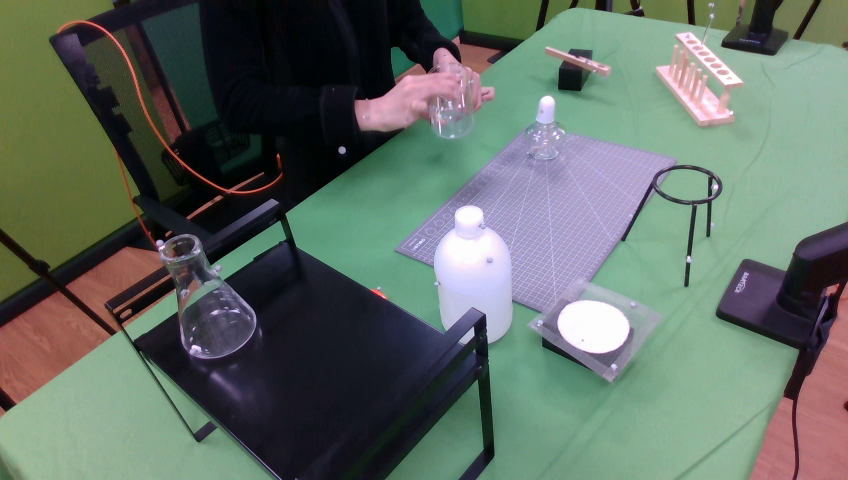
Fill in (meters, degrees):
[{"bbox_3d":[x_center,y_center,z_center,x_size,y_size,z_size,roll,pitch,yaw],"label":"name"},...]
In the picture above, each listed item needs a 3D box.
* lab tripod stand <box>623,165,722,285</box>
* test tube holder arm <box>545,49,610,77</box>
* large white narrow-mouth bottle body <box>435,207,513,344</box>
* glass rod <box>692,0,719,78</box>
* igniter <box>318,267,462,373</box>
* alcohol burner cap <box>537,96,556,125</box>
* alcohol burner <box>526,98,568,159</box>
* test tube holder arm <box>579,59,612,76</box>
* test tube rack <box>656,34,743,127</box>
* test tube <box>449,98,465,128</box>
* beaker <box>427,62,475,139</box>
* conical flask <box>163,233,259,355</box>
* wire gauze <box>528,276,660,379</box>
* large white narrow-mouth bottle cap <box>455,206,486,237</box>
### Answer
[{"bbox_3d":[0.365,-0.030,0.875,0.148,0.132,0.147,-6,41,6],"label":"lab tripod stand"},{"bbox_3d":[0.330,-0.387,1.314,0.013,0.015,0.177,-25,43,-31],"label":"test tube holder arm"},{"bbox_3d":[0.065,0.041,0.791,0.102,0.195,0.101,-4,41,4],"label":"large white narrow-mouth bottle body"},{"bbox_3d":[0.561,-0.401,1.214,0.008,0.200,0.008,-1,48,2],"label":"glass rod"},{"bbox_3d":[-0.059,0.107,0.862,0.274,0.025,0.057,28,62,34],"label":"igniter"},{"bbox_3d":[0.223,-0.237,1.095,0.034,0.048,0.033,0,43,1],"label":"alcohol burner cap"},{"bbox_3d":[0.228,-0.210,1.118,0.078,0.119,0.077,-5,43,5],"label":"alcohol burner"},{"bbox_3d":[0.363,-0.368,1.289,0.010,0.015,0.087,-25,43,-31],"label":"test tube holder arm"},{"bbox_3d":[0.553,-0.330,1.233,0.067,0.085,0.241,-7,40,2],"label":"test tube rack"},{"bbox_3d":[0.061,-0.228,1.093,0.017,0.150,0.017,-1,86,9],"label":"test tube"},{"bbox_3d":[0.044,-0.218,0.964,0.074,0.084,0.100,-4,59,4],"label":"beaker"},{"bbox_3d":[-0.216,0.051,0.601,0.075,0.122,0.075,-4,40,4],"label":"conical flask"},{"bbox_3d":[0.214,0.103,0.763,0.124,0.011,0.122,30,52,35],"label":"wire gauze"},{"bbox_3d":[0.056,-0.023,0.734,0.038,0.024,0.037,-4,41,4],"label":"large white narrow-mouth bottle cap"}]
